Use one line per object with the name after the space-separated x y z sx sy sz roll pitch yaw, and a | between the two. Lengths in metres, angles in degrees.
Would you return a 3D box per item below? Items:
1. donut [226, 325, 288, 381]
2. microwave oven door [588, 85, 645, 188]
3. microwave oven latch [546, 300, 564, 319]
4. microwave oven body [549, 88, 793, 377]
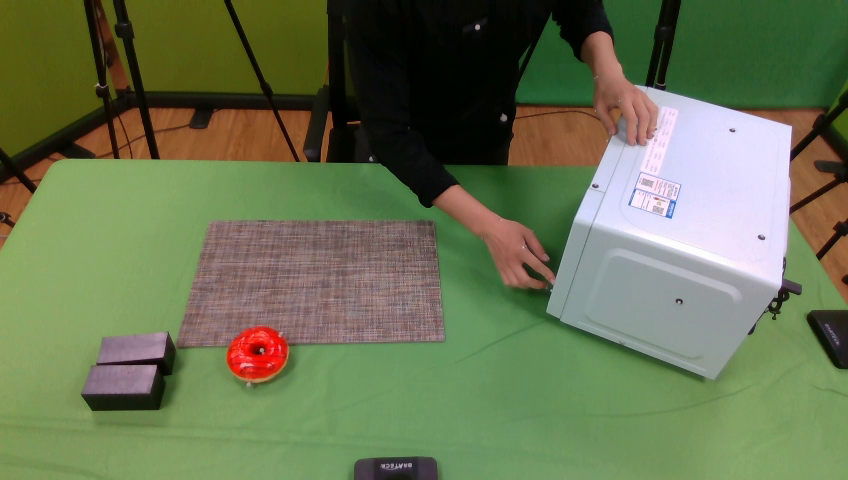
-0.270 0.182 0.984 0.099 0.048 0.098 5 49 -5 | donut
0.342 -0.107 1.149 0.039 0.245 0.354 21 48 15 | microwave oven door
0.242 0.102 1.081 0.030 0.029 0.079 22 48 17 | microwave oven latch
0.456 -0.028 1.088 0.325 0.261 0.440 20 47 16 | microwave oven body
